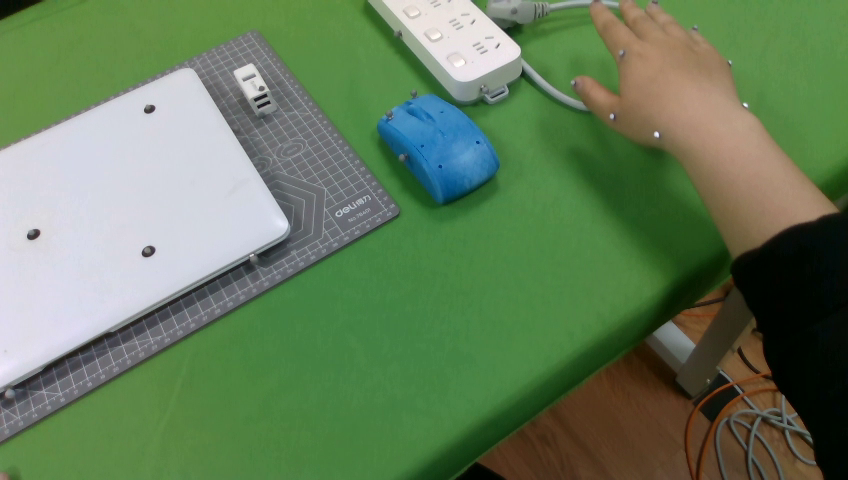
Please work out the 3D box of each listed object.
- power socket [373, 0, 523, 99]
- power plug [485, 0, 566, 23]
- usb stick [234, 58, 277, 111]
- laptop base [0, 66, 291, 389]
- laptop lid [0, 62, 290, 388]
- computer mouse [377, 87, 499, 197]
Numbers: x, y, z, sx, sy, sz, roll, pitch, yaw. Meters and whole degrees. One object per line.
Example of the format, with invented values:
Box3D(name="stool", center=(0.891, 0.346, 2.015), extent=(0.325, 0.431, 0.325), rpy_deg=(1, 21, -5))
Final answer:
Box3D(name="power socket", center=(0.013, -0.219, 0.591), extent=(0.072, 0.033, 0.224), rpy_deg=(-28, 59, -10))
Box3D(name="power plug", center=(0.096, -0.230, 0.594), extent=(0.073, 0.035, 0.052), rpy_deg=(-1, 31, -19))
Box3D(name="usb stick", center=(-0.160, -0.150, 0.568), extent=(0.021, 0.027, 0.058), rpy_deg=(-29, 57, -9))
Box3D(name="laptop base", center=(-0.310, -0.002, 0.500), extent=(0.354, 0.023, 0.233), rpy_deg=(-30, 62, -13))
Box3D(name="laptop lid", center=(-0.310, -0.006, 0.489), extent=(0.357, 0.013, 0.239), rpy_deg=(-29, 61, -11))
Box3D(name="computer mouse", center=(0.009, -0.089, 0.506), extent=(0.063, 0.041, 0.116), rpy_deg=(-32, 55, -10))
